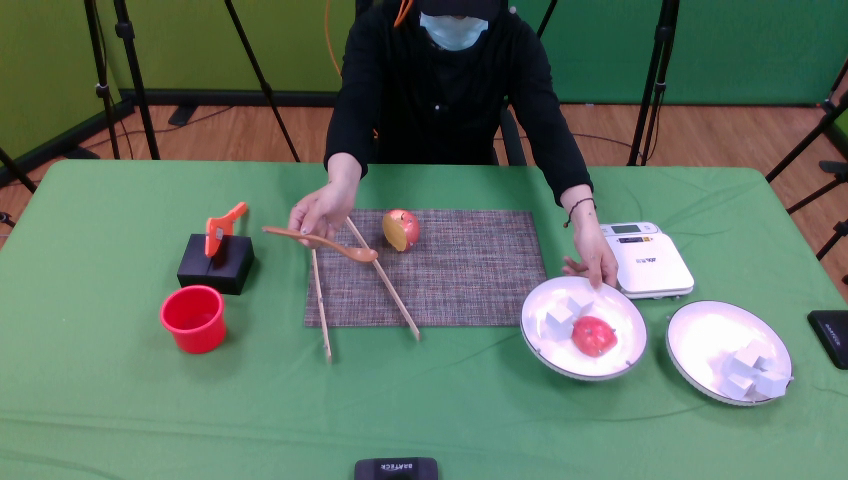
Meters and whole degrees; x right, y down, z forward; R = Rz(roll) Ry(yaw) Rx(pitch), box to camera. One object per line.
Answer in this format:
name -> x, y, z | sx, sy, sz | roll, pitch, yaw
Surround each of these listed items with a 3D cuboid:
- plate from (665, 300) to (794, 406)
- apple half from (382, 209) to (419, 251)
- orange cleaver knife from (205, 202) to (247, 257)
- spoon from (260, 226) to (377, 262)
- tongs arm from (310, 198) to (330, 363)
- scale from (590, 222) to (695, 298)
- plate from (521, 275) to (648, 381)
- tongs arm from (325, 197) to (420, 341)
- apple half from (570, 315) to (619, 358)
plate -> 0.513, 0.194, 1.033 | 0.208, 0.039, 0.206 | 2, 46, -2
apple half -> -0.039, -0.022, 1.175 | 0.053, 0.075, 0.080 | -26, 50, -31
orange cleaver knife -> -0.374, -0.024, 1.151 | 0.012, 0.077, 0.210 | 3, 16, 1
spoon -> -0.164, 0.003, 0.961 | 0.194, 0.022, 0.041 | 19, 25, -27
tongs arm -> -0.180, 0.058, 1.116 | 0.051, 0.026, 0.382 | -10, 47, -11
scale -> 0.424, 0.031, 1.189 | 0.149, 0.032, 0.199 | -3, 46, -7
plate -> 0.263, 0.148, 1.011 | 0.209, 0.038, 0.208 | 1, 46, -1
tongs arm -> -0.101, 0.042, 1.139 | 0.028, 0.028, 0.385 | -23, 51, -17
apple half -> 0.283, 0.151, 1.001 | 0.081, 0.033, 0.081 | 2, 48, -2
